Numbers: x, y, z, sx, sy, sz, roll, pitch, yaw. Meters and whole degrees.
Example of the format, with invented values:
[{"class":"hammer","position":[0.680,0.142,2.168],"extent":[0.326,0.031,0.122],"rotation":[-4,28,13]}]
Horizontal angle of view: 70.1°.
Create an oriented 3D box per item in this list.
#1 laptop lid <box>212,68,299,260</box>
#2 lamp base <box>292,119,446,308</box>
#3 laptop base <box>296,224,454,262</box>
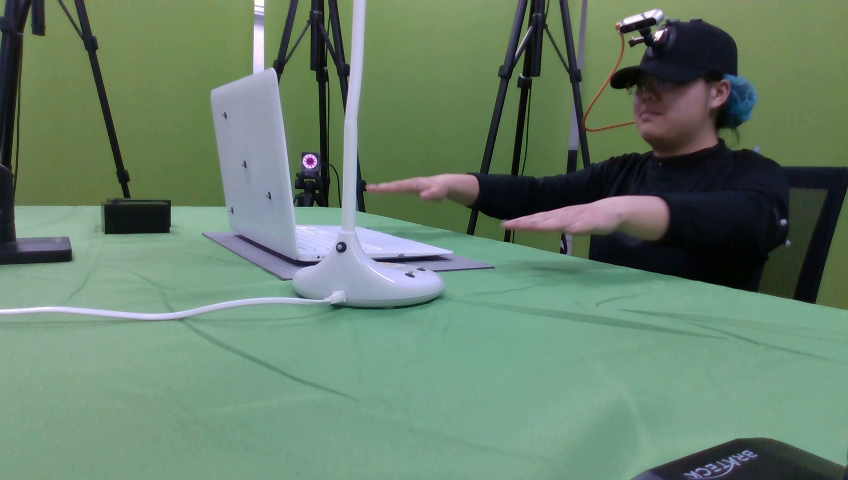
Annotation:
[{"class":"laptop lid","position":[-0.254,-0.111,0.872],"extent":[0.013,0.241,0.355],"rotation":[-11,14,-30]},{"class":"lamp base","position":[-0.056,-0.030,0.616],"extent":[0.160,0.180,0.179],"rotation":[3,10,8]},{"class":"laptop base","position":[-0.143,0.003,0.957],"extent":[0.237,0.023,0.352],"rotation":[2,6,-32]}]
